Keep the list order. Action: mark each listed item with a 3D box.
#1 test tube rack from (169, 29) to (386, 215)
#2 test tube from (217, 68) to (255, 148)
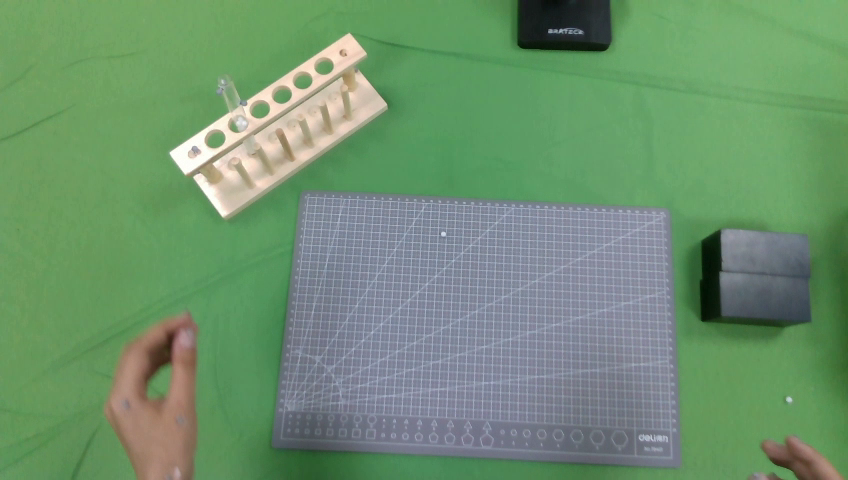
[{"bbox_3d":[-0.163,-0.137,0.712,0.242,0.085,0.066,-37,78,-9],"label":"test tube rack"},{"bbox_3d":[-0.202,-0.139,0.661,0.017,0.151,0.017,2,72,-5],"label":"test tube"}]
